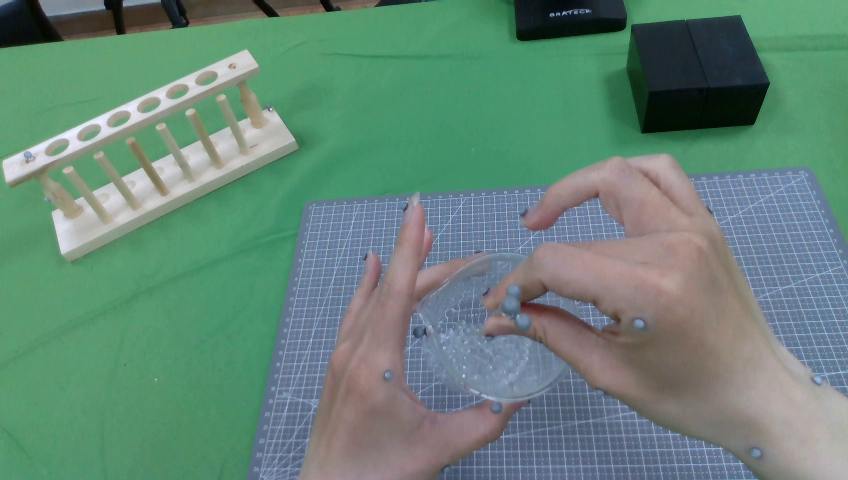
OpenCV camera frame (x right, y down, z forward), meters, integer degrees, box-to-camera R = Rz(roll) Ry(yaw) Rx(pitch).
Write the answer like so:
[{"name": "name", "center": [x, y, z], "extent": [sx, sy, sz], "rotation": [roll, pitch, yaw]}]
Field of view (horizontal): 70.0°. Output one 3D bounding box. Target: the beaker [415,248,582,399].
[{"name": "beaker", "center": [0.033, 0.051, 0.344], "extent": [0.084, 0.100, 0.073], "rotation": [12, 76, -2]}]

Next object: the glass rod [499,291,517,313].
[{"name": "glass rod", "center": [0.041, 0.032, 0.296], "extent": [0.008, 0.200, 0.008], "rotation": [-1, 83, 7]}]

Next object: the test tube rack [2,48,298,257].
[{"name": "test tube rack", "center": [-0.255, -0.086, 0.585], "extent": [0.242, 0.086, 0.066], "rotation": [-29, 55, -12]}]
